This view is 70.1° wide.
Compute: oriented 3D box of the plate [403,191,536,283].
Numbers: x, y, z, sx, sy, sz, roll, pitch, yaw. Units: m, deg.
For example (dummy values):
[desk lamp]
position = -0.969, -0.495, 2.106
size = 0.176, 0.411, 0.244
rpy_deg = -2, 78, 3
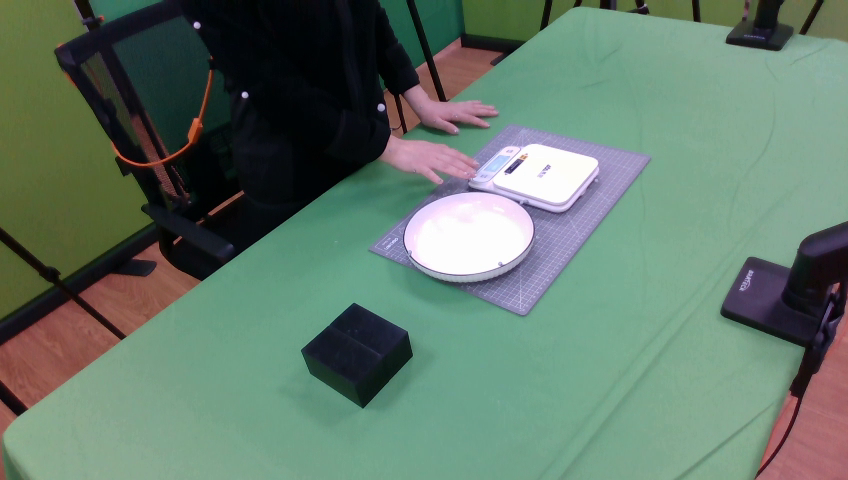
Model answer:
[plate]
position = 0.071, -0.003, 0.959
size = 0.209, 0.038, 0.208
rpy_deg = -5, 40, 5

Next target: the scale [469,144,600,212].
[scale]
position = 0.194, -0.117, 1.075
size = 0.199, 0.032, 0.149
rpy_deg = 21, 48, 32
